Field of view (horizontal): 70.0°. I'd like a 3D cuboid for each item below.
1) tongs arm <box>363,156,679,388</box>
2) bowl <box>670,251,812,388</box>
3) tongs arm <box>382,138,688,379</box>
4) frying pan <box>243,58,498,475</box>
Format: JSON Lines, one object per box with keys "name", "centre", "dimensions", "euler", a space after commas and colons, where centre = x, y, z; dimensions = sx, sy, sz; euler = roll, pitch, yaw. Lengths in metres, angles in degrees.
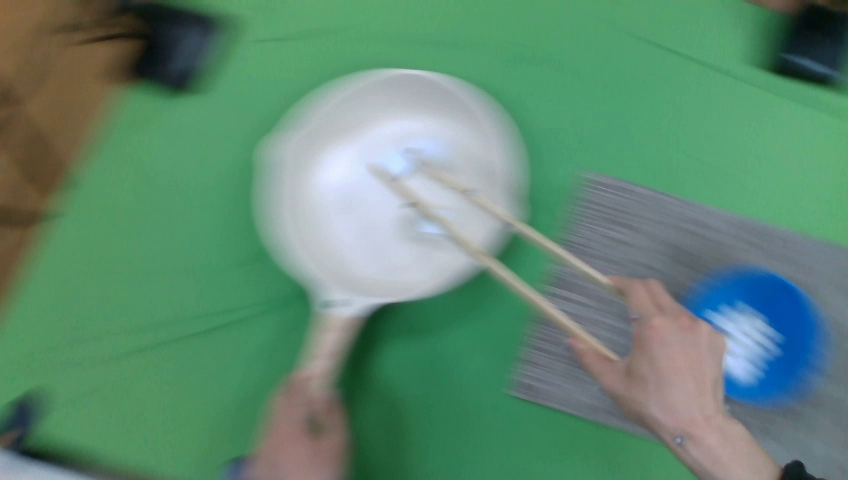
{"name": "tongs arm", "centre": [0.066, 0.016, 0.582], "dimensions": [0.028, 0.028, 0.384], "euler": [-43, 59, -14]}
{"name": "bowl", "centre": [0.348, 0.093, 0.696], "dimensions": [0.151, 0.077, 0.150], "euler": [0, 78, 0]}
{"name": "tongs arm", "centre": [0.083, 0.000, 0.586], "dimensions": [0.381, 0.027, 0.050], "euler": [34, 74, 29]}
{"name": "frying pan", "centre": [-0.091, 0.019, 0.701], "dimensions": [0.306, 0.103, 0.485], "euler": [15, 70, 4]}
